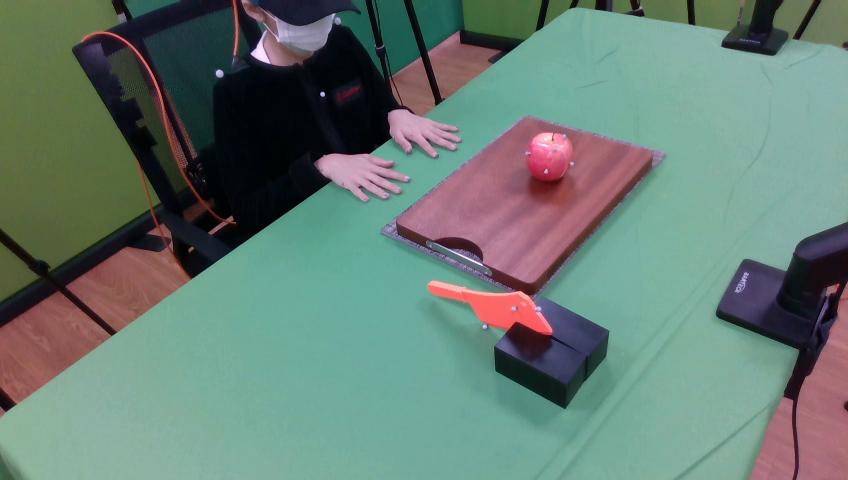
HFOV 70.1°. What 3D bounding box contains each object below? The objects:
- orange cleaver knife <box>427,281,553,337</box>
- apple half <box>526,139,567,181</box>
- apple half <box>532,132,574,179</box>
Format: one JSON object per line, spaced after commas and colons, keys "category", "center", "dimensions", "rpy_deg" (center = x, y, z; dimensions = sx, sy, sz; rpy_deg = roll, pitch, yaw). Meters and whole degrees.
{"category": "orange cleaver knife", "center": [0.082, 0.090, 0.810], "dimensions": [0.012, 0.077, 0.209], "rpy_deg": [-42, 28, -29]}
{"category": "apple half", "center": [0.197, -0.127, 1.009], "dimensions": [0.080, 0.081, 0.033], "rpy_deg": [24, 46, 32]}
{"category": "apple half", "center": [0.222, -0.147, 1.032], "dimensions": [0.080, 0.075, 0.053], "rpy_deg": [20, 44, 35]}
